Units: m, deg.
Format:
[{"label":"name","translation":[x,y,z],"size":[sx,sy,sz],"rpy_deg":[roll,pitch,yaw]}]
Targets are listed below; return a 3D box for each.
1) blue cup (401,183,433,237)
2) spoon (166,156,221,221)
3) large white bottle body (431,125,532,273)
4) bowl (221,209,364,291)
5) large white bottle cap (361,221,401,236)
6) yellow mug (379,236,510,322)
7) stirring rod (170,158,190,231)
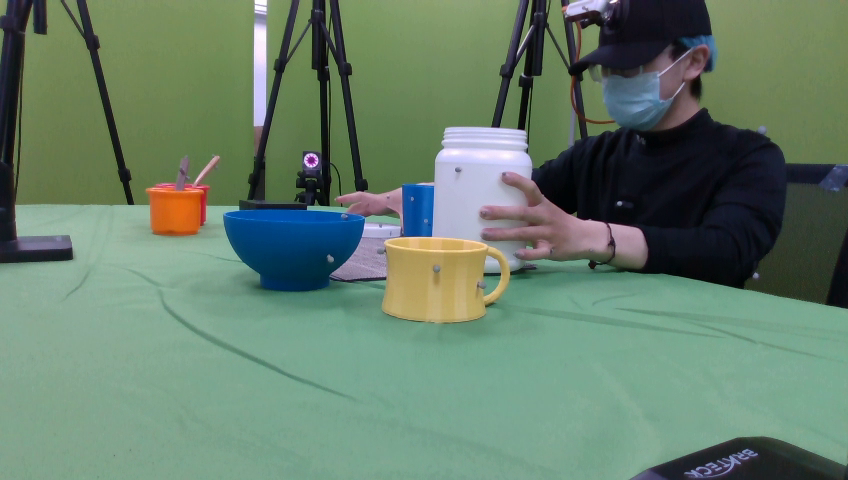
[{"label":"blue cup","translation":[0.002,-0.038,0.966],"size":[0.093,0.100,0.092],"rpy_deg":[4,8,0]},{"label":"spoon","translation":[-0.447,-0.104,1.192],"size":[0.041,0.022,0.193],"rpy_deg":[7,52,14]},{"label":"large white bottle body","translation":[0.076,-0.057,0.808],"size":[0.131,0.184,0.130],"rpy_deg":[2,7,0]},{"label":"bowl","translation":[-0.142,0.011,0.660],"size":[0.151,0.077,0.151],"rpy_deg":[2,7,0]},{"label":"large white bottle cap","translation":[-0.098,-0.021,1.123],"size":[0.115,0.018,0.115],"rpy_deg":[2,8,0]},{"label":"yellow mug","translation":[0.024,0.034,0.575],"size":[0.131,0.064,0.099],"rpy_deg":[1,7,-22]},{"label":"stirring rod","translation":[-0.426,-0.082,1.060],"size":[0.014,0.006,0.175],"rpy_deg":[2,50,-14]}]
